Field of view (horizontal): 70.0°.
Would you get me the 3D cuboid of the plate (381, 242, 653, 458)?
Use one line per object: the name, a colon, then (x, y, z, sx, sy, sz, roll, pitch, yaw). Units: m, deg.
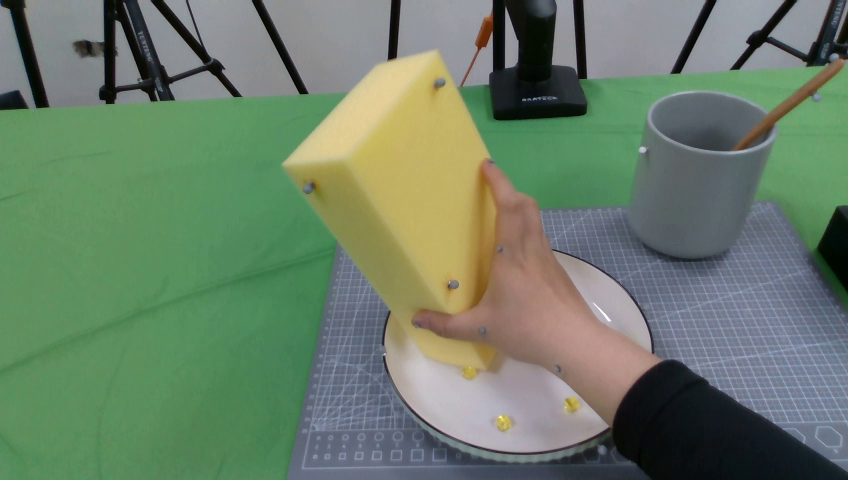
plate: (0.071, 0.082, 0.484, 0.207, 0.039, 0.205, -3, 42, 3)

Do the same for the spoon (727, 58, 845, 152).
spoon: (0.272, -0.077, 0.521, 0.022, 0.194, 0.041, 30, 40, -4)

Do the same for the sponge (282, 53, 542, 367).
sponge: (0.006, -0.015, 0.450, 0.060, 0.209, 0.117, 1, 47, 40)

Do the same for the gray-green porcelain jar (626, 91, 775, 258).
gray-green porcelain jar: (0.245, -0.055, 0.555, 0.106, 0.128, 0.105, -3, 42, 3)
